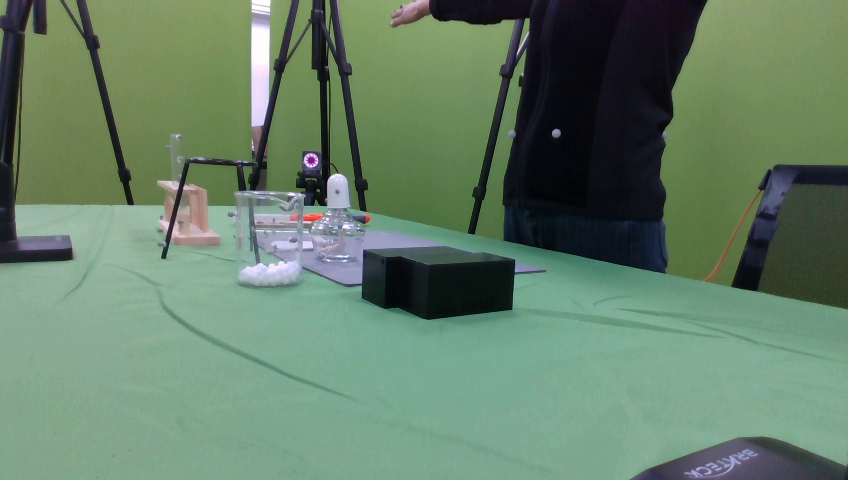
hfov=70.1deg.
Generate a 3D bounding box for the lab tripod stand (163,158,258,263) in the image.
[{"bbox_3d":[-0.265,-0.041,0.802,0.148,0.131,0.148,4,7,0],"label":"lab tripod stand"}]

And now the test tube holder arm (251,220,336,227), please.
[{"bbox_3d":[-0.253,-0.031,1.156,0.179,0.015,0.013,-2,44,-30],"label":"test tube holder arm"}]

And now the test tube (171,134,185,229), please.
[{"bbox_3d":[-0.390,-0.092,0.963,0.017,0.150,0.017,-1,4,0],"label":"test tube"}]

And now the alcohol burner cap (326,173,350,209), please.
[{"bbox_3d":[-0.116,-0.065,0.808,0.034,0.048,0.034,-3,10,1],"label":"alcohol burner cap"}]

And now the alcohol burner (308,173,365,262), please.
[{"bbox_3d":[-0.117,-0.030,0.813,0.078,0.119,0.078,4,9,0],"label":"alcohol burner"}]

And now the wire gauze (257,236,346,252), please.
[{"bbox_3d":[-0.189,0.005,0.931,0.122,0.011,0.124,1,7,-21],"label":"wire gauze"}]

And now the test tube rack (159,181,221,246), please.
[{"bbox_3d":[-0.395,-0.049,1.010,0.067,0.085,0.241,-2,8,-28],"label":"test tube rack"}]

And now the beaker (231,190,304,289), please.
[{"bbox_3d":[-0.166,-0.001,0.653,0.074,0.100,0.083,-4,10,-40],"label":"beaker"}]

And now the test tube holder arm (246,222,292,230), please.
[{"bbox_3d":[-0.291,-0.026,1.130,0.088,0.015,0.010,-1,43,-29],"label":"test tube holder arm"}]

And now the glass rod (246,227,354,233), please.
[{"bbox_3d":[-0.224,-0.017,1.109,0.201,0.008,0.008,1,7,-27],"label":"glass rod"}]

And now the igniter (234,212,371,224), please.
[{"bbox_3d":[-0.245,-0.045,1.248,0.278,0.025,0.057,-1,-2,-25],"label":"igniter"}]
